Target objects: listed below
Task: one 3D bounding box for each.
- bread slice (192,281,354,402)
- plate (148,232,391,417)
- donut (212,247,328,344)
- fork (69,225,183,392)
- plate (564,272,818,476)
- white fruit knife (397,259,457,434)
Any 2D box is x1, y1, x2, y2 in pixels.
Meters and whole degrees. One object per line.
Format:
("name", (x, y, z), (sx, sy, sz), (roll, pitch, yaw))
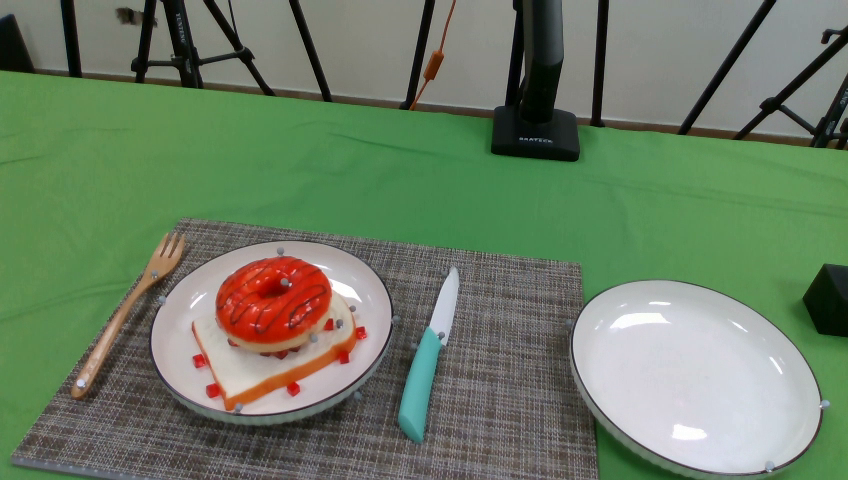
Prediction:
("bread slice", (-0.132, 0.077, 0.546), (0.132, 0.019, 0.103), (-23, 48, -26))
("plate", (-0.134, 0.072, 0.547), (0.209, 0.038, 0.207), (2, 42, -1))
("donut", (-0.132, 0.046, 0.523), (0.099, 0.048, 0.098), (2, 41, -1))
("fork", (-0.276, 0.054, 0.571), (0.028, 0.019, 0.205), (11, 40, -2))
("plate", (0.225, 0.113, 0.532), (0.208, 0.039, 0.205), (2, 41, -1))
("white fruit knife", (0.007, 0.085, 0.562), (0.027, 0.016, 0.206), (32, 40, -11))
